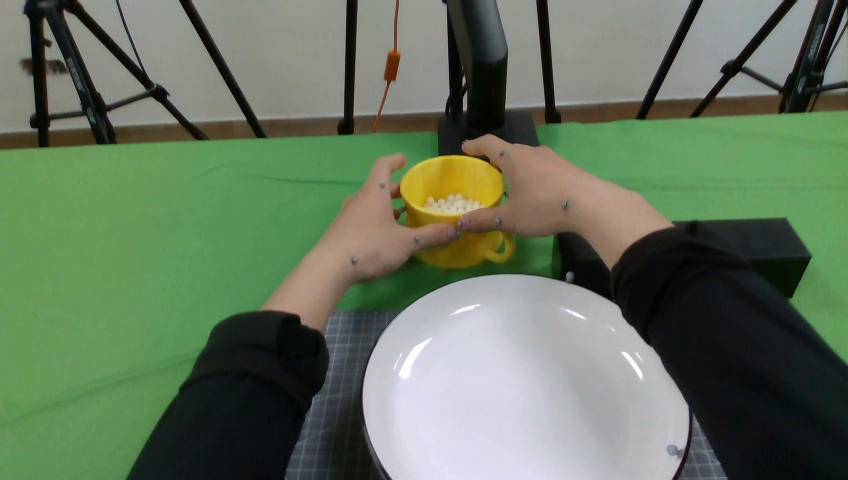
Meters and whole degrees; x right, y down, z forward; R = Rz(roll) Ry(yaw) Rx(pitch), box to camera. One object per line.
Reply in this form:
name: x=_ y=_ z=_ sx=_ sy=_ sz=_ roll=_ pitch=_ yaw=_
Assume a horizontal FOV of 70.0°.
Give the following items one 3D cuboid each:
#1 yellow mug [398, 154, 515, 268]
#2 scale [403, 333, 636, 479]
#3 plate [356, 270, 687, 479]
yellow mug: x=0.037 y=-0.023 z=0.579 sx=0.100 sy=0.064 sz=0.129 roll=-33 pitch=49 yaw=-29
scale: x=0.061 y=0.147 z=0.399 sx=0.148 sy=0.032 sz=0.199 roll=-2 pitch=42 yaw=2
plate: x=0.060 y=0.104 z=0.400 sx=0.209 sy=0.038 sz=0.207 roll=-1 pitch=42 yaw=1
